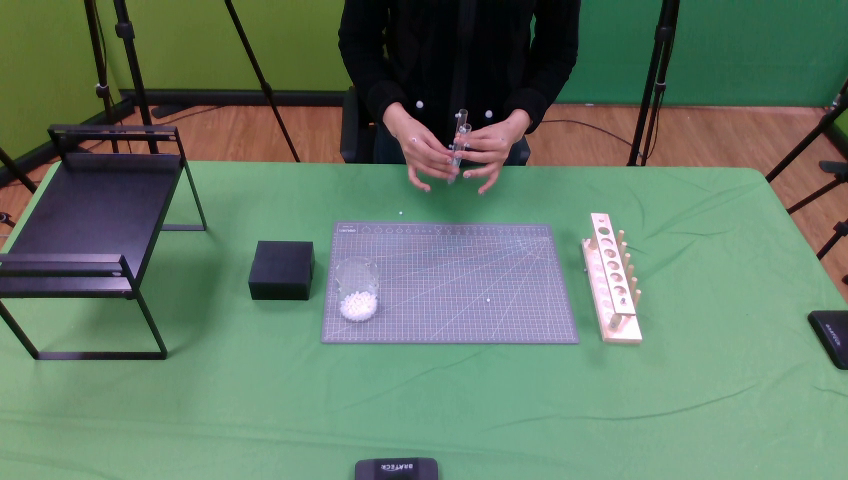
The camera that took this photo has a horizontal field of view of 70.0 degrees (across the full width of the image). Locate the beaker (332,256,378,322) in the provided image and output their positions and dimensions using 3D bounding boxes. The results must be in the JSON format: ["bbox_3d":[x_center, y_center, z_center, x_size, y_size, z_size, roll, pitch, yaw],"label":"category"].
[{"bbox_3d":[-0.114,0.089,1.047,0.083,0.101,0.074,30,52,21],"label":"beaker"}]

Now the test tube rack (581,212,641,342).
[{"bbox_3d":[0.351,0.064,1.121,0.067,0.085,0.241,3,46,-1],"label":"test tube rack"}]

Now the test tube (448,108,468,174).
[{"bbox_3d":[0.060,-0.176,1.099,0.017,0.151,0.017,4,51,-4],"label":"test tube"}]

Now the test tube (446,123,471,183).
[{"bbox_3d":[0.061,-0.154,1.090,0.017,0.151,0.017,5,56,-8],"label":"test tube"}]
